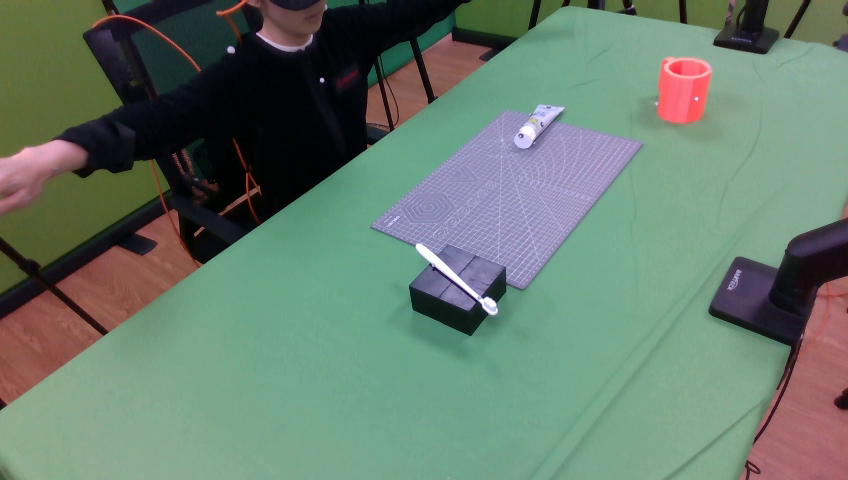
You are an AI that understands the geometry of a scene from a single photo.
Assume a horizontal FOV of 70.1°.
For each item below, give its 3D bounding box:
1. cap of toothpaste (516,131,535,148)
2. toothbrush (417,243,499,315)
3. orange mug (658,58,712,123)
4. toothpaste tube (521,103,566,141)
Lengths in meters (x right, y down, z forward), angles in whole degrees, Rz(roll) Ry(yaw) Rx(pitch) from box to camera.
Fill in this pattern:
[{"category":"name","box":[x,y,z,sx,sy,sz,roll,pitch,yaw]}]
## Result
[{"category":"cap of toothpaste","box":[0.194,-0.193,1.153,0.037,0.037,0.011,7,44,17]},{"category":"toothbrush","box":[0.043,0.049,0.842,0.014,0.017,0.180,-30,45,-21]},{"category":"orange mug","box":[0.504,-0.304,1.193,0.083,0.101,0.125,-13,45,-5]},{"category":"toothpaste tube","box":[0.234,-0.238,1.209,0.055,0.034,0.165,19,43,21]}]
